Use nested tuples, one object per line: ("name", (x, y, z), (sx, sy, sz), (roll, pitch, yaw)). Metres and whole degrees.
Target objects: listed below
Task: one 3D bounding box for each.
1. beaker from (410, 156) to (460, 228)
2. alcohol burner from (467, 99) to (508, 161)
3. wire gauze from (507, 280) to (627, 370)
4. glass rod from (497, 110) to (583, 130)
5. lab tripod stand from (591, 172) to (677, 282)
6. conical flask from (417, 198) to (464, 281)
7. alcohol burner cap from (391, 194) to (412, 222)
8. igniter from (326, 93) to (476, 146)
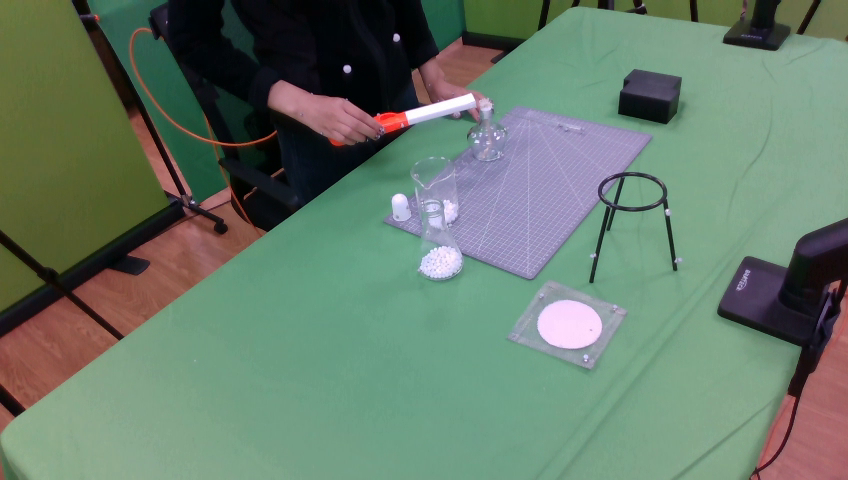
("beaker", (0.020, -0.076, 1.006), (0.074, 0.101, 0.084), (3, 42, 15))
("alcohol burner", (0.119, -0.210, 1.134), (0.078, 0.119, 0.077), (-4, 39, 4))
("wire gauze", (0.196, 0.114, 0.823), (0.120, 0.011, 0.125), (20, 50, 31))
("glass rod", (0.233, -0.245, 1.235), (0.198, 0.008, 0.008), (21, 49, 35))
("lab tripod stand", (0.292, -0.022, 0.867), (0.148, 0.132, 0.147), (-7, 39, 6))
("conical flask", (0.019, -0.004, 0.907), (0.075, 0.122, 0.075), (-5, 40, 5))
("alcohol burner cap", (-0.041, -0.057, 1.040), (0.034, 0.048, 0.033), (-6, 41, 5))
("igniter", (-0.042, -0.218, 1.095), (0.277, 0.025, 0.057), (-16, 44, -1))
